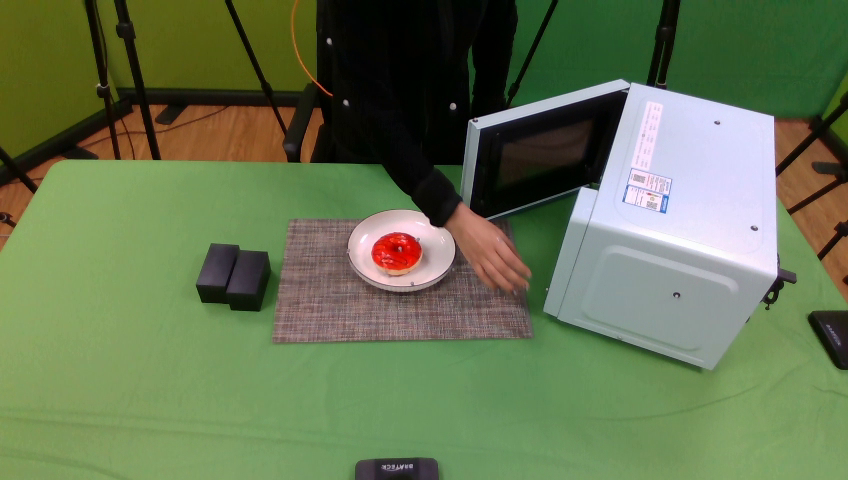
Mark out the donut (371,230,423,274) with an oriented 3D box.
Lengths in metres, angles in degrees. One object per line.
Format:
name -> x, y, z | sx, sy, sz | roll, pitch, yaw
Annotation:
donut -> -0.051, 0.022, 1.142 | 0.099, 0.048, 0.098 | 0, 45, 0

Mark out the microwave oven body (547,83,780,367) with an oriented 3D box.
microwave oven body -> 0.445, -0.041, 1.101 | 0.325, 0.261, 0.440 | 17, 47, 13

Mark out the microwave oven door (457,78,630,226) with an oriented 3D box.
microwave oven door -> 0.237, -0.176, 1.207 | 0.356, 0.245, 0.039 | -19, 50, -21

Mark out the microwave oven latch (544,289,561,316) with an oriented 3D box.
microwave oven latch -> 0.237, 0.098, 1.087 | 0.030, 0.029, 0.079 | 18, 47, 14

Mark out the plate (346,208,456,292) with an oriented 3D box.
plate -> -0.044, 0.021, 1.159 | 0.209, 0.038, 0.208 | 2, 47, -2
